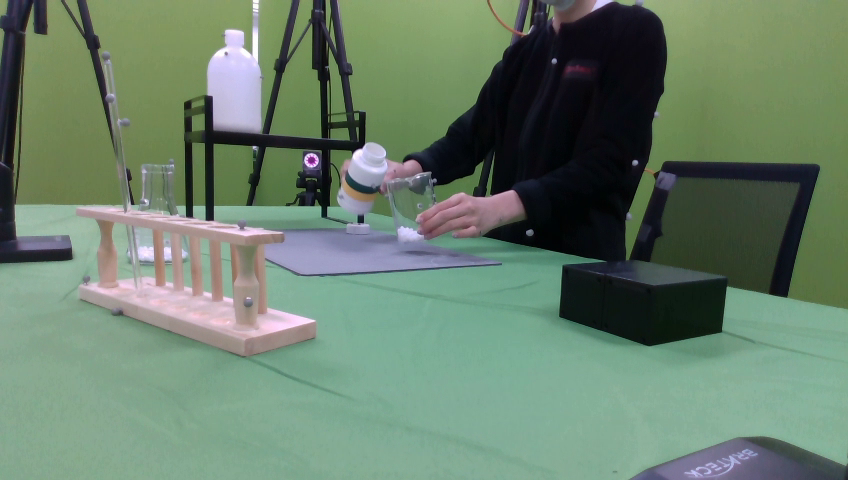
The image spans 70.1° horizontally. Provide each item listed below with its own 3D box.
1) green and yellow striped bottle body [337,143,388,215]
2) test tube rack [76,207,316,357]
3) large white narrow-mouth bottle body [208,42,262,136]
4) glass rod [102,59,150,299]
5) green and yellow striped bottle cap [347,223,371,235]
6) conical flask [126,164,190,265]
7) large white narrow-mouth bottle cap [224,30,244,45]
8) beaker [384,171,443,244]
[{"bbox_3d":[-0.101,-0.106,1.023,0.063,0.119,0.063,17,38,-14],"label":"green and yellow striped bottle body"},{"bbox_3d":[-0.196,0.023,0.500,0.241,0.085,0.067,8,9,36],"label":"test tube rack"},{"bbox_3d":[-0.368,-0.304,1.181,0.102,0.194,0.101,2,9,0],"label":"large white narrow-mouth bottle body"},{"bbox_3d":[-0.243,-0.045,0.496,0.008,0.199,0.008,-4,13,1],"label":"glass rod"},{"bbox_3d":[-0.122,-0.021,1.133,0.045,0.020,0.045,0,8,0],"label":"green and yellow striped bottle cap"},{"bbox_3d":[-0.332,-0.033,0.756,0.075,0.122,0.075,2,7,0],"label":"conical flask"},{"bbox_3d":[-0.365,-0.389,1.166,0.038,0.024,0.037,2,9,0],"label":"large white narrow-mouth bottle cap"},{"bbox_3d":[-0.013,-0.048,0.910,0.074,0.100,0.084,-12,5,-3],"label":"beaker"}]
